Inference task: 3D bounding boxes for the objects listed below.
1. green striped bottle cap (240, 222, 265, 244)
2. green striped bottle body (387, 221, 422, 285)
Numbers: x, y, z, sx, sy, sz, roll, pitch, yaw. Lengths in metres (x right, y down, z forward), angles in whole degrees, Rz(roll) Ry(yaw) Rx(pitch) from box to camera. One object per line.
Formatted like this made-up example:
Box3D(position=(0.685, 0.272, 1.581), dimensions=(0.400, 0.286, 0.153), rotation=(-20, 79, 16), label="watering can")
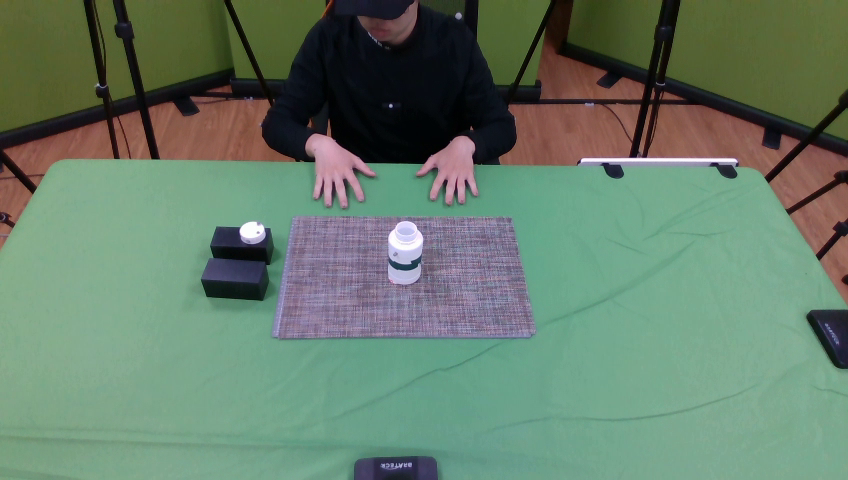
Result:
Box3D(position=(-0.318, -0.013, 1.123), dimensions=(0.044, 0.020, 0.044), rotation=(0, 45, 0), label="green striped bottle cap")
Box3D(position=(-0.035, 0.021, 1.103), dimensions=(0.063, 0.120, 0.063), rotation=(2, 46, -2), label="green striped bottle body")
